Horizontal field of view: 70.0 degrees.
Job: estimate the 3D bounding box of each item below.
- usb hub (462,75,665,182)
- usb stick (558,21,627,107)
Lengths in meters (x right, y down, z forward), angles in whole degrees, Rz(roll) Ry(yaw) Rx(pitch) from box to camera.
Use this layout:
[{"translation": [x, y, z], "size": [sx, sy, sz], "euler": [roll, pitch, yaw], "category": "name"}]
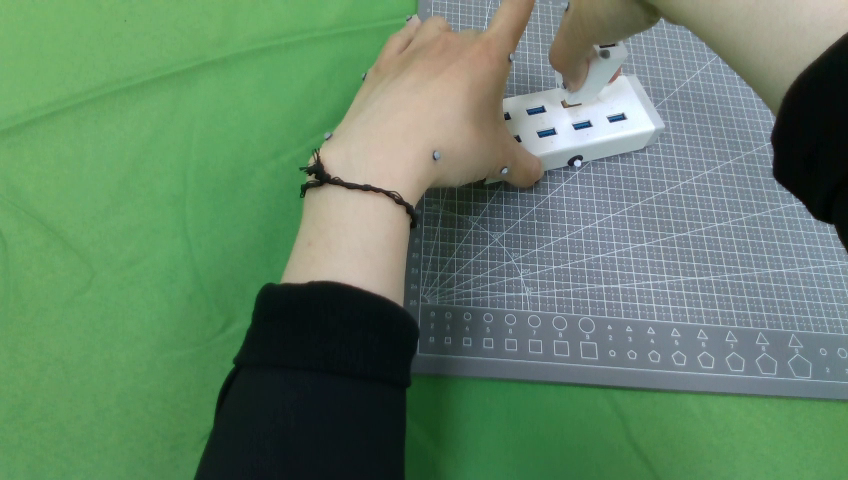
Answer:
[{"translation": [0.091, -0.076, 0.399], "size": [0.125, 0.025, 0.049], "euler": [-13, 67, -14], "category": "usb hub"}, {"translation": [0.100, -0.105, 0.375], "size": [0.021, 0.059, 0.027], "euler": [-16, 69, -14], "category": "usb stick"}]
